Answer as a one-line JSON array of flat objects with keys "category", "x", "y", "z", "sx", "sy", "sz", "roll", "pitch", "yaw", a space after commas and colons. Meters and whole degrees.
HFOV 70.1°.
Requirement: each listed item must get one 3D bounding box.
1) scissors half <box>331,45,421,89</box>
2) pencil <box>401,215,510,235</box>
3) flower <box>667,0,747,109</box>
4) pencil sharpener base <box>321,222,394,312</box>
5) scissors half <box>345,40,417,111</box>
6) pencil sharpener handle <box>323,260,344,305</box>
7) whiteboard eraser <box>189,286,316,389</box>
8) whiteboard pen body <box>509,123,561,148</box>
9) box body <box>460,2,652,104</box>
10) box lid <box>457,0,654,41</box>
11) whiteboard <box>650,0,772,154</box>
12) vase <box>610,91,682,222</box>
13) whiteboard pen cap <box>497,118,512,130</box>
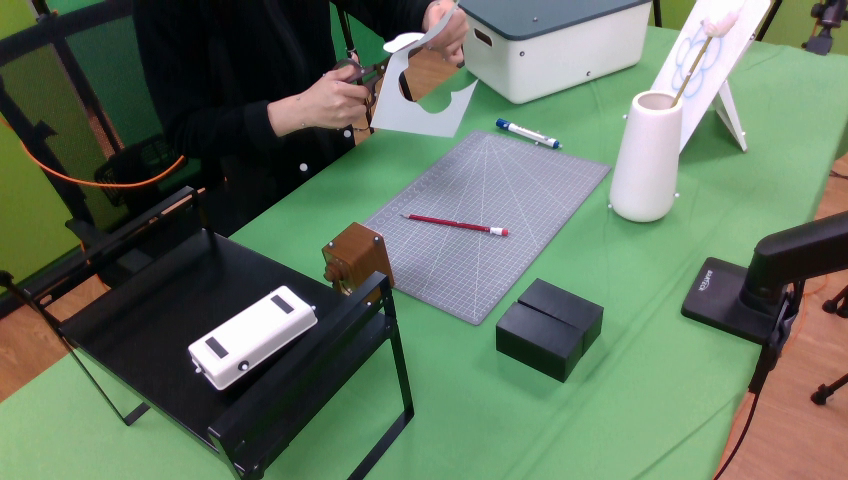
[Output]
[{"category": "scissors half", "x": -0.075, "y": -0.264, "z": 0.906, "sx": 0.174, "sy": 0.040, "sz": 0.013, "roll": -7, "pitch": 32, "yaw": 35}, {"category": "pencil", "x": 0.049, "y": -0.027, "z": 1.007, "sx": 0.193, "sy": 0.012, "sz": 0.012, "roll": 10, "pitch": 43, "yaw": 21}, {"category": "flower", "x": 0.354, "y": -0.187, "z": 0.879, "sx": 0.038, "sy": 0.362, "sz": 0.044, "roll": 30, "pitch": 48, "yaw": 14}, {"category": "pencil sharpener base", "x": -0.096, "y": 0.041, "z": 0.873, "sx": 0.061, "sy": 0.107, "sz": 0.077, "roll": 26, "pitch": 54, "yaw": 32}, {"category": "scissors half", "x": -0.064, "y": -0.247, "z": 0.911, "sx": 0.040, "sy": 0.174, "sz": 0.013, "roll": 49, "pitch": 44, "yaw": -6}, {"category": "pencil sharpener handle", "x": -0.131, "y": 0.062, "z": 0.839, "sx": 0.035, "sy": 0.068, "sz": 0.031, "roll": 29, "pitch": 55, "yaw": 28}, {"category": "whiteboard eraser", "x": -0.166, "y": 0.096, "z": 0.593, "sx": 0.113, "sy": 0.042, "sz": 0.055, "roll": -36, "pitch": 47, "yaw": -29}, {"category": "whiteboard pen body", "x": 0.209, "y": -0.211, "z": 1.195, "sx": 0.139, "sy": 0.017, "sz": 0.017, "roll": 30, "pitch": 52, "yaw": 33}, {"category": "box body", "x": 0.291, "y": -0.465, "z": 1.371, "sx": 0.365, "sy": 0.161, "sz": 0.252, "roll": -22, "pitch": 42, "yaw": -16}, {"category": "box lid", "x": 0.285, "y": -0.522, "z": 1.323, "sx": 0.373, "sy": 0.015, "sz": 0.261, "roll": -22, "pitch": 43, "yaw": -16}, {"category": "whiteboard", "x": 0.543, "y": -0.298, "z": 1.076, "sx": 0.144, "sy": 0.305, "sz": 0.216, "roll": 12, "pitch": 40, "yaw": -7}, {"category": "vase", "x": 0.348, "y": -0.125, "z": 0.935, "sx": 0.098, "sy": 0.201, "sz": 0.097, "roll": -3, "pitch": 40, "yaw": 3}, {"category": "whiteboard pen cap", "x": 0.165, "y": -0.235, "z": 1.227, "sx": 0.033, "sy": 0.018, "sz": 0.018, "roll": 31, "pitch": 53, "yaw": 31}]
